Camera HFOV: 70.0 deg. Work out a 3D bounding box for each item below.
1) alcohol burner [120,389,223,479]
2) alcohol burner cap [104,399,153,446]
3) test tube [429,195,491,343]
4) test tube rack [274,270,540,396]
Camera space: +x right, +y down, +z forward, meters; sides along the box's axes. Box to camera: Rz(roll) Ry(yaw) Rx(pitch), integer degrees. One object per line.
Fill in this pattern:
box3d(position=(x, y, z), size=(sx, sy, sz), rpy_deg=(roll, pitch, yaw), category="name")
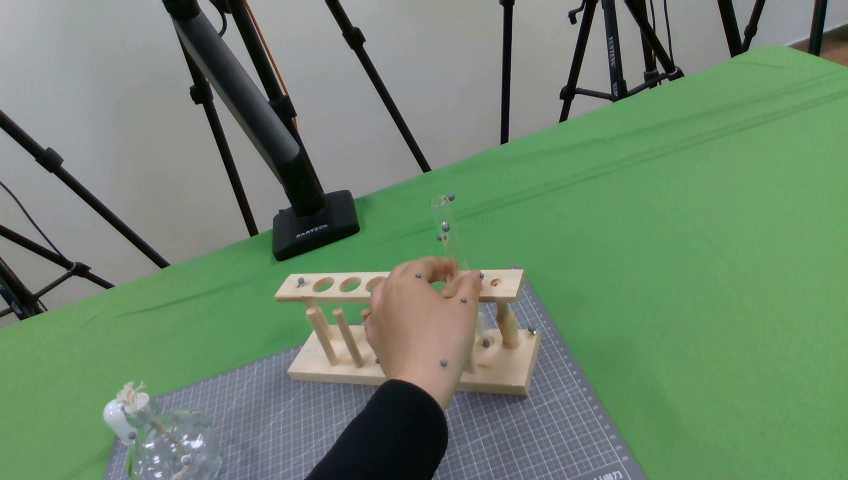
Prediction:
box3d(position=(-0.222, 0.166, 0.513), size=(0.078, 0.120, 0.077), rpy_deg=(-12, 35, 9), category="alcohol burner")
box3d(position=(-0.296, 0.178, 0.601), size=(0.034, 0.048, 0.033), rpy_deg=(-12, 34, 9), category="alcohol burner cap")
box3d(position=(0.033, 0.029, 0.515), size=(0.017, 0.151, 0.017), rpy_deg=(-15, 30, 9), category="test tube")
box3d(position=(-0.025, 0.083, 0.557), size=(0.241, 0.086, 0.066), rpy_deg=(-3, 37, 25), category="test tube rack")
